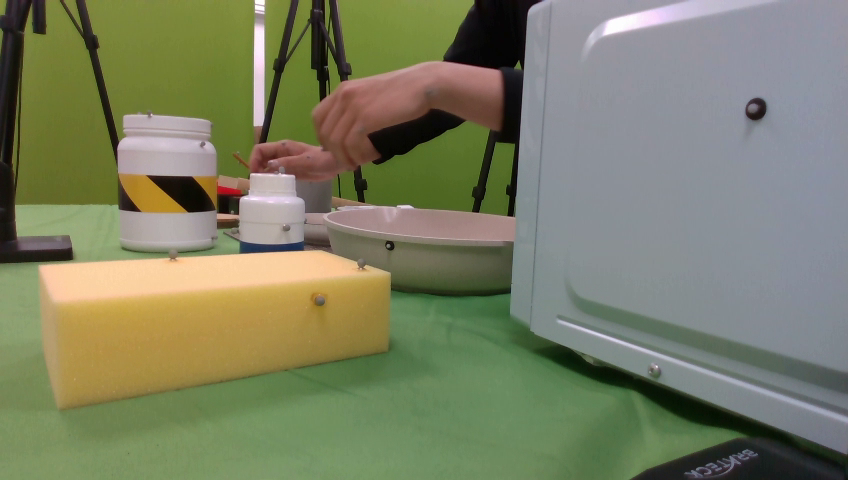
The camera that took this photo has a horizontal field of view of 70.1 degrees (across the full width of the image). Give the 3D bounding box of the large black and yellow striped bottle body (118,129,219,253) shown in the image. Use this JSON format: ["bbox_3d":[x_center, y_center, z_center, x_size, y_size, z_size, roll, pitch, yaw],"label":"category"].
[{"bbox_3d":[-0.368,-0.080,0.876,0.131,0.184,0.130,1,7,0],"label":"large black and yellow striped bottle body"}]

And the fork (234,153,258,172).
[{"bbox_3d":[-0.396,-0.143,1.486,0.028,0.018,0.208,20,-26,45],"label":"fork"}]

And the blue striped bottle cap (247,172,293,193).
[{"bbox_3d":[-0.152,-0.057,0.598,0.044,0.020,0.044,3,7,0],"label":"blue striped bottle cap"}]

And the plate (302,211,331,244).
[{"bbox_3d":[-0.139,-0.022,1.021,0.209,0.038,0.209,2,8,0],"label":"plate"}]

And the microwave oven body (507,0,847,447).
[{"bbox_3d":[0.331,-0.042,0.425,0.444,0.260,0.324,-2,8,-31],"label":"microwave oven body"}]

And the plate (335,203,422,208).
[{"bbox_3d":[-0.089,-0.053,1.309,0.208,0.039,0.207,2,8,0],"label":"plate"}]

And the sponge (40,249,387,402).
[{"bbox_3d":[-0.142,0.047,0.420,0.208,0.061,0.117,-3,8,-36],"label":"sponge"}]

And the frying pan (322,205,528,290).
[{"bbox_3d":[0.110,-0.018,0.799,0.490,0.102,0.305,-12,16,-30],"label":"frying pan"}]

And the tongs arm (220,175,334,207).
[{"bbox_3d":[-0.285,-0.105,1.445,0.389,0.027,0.028,10,-3,-23],"label":"tongs arm"}]

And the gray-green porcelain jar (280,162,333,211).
[{"bbox_3d":[-0.238,-0.092,1.221,0.106,0.126,0.106,2,7,0],"label":"gray-green porcelain jar"}]

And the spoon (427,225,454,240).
[{"bbox_3d":[0.024,-0.019,1.125,0.042,0.021,0.193,-15,9,-4],"label":"spoon"}]

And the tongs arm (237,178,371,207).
[{"bbox_3d":[-0.241,-0.095,1.374,0.387,0.026,0.050,9,0,-37],"label":"tongs arm"}]

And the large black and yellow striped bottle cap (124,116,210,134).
[{"bbox_3d":[-0.366,-0.163,0.866,0.115,0.019,0.115,3,7,0],"label":"large black and yellow striped bottle cap"}]

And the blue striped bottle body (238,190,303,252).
[{"bbox_3d":[-0.153,-0.007,0.605,0.063,0.120,0.063,2,7,0],"label":"blue striped bottle body"}]

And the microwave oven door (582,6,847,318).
[{"bbox_3d":[0.295,-0.067,0.569,0.358,0.243,0.039,-3,8,-31],"label":"microwave oven door"}]

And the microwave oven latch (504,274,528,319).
[{"bbox_3d":[0.100,0.041,0.471,0.079,0.029,0.030,-1,7,-28],"label":"microwave oven latch"}]

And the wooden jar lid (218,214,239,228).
[{"bbox_3d":[-0.404,-0.037,1.169,0.108,0.020,0.108,3,7,0],"label":"wooden jar lid"}]
